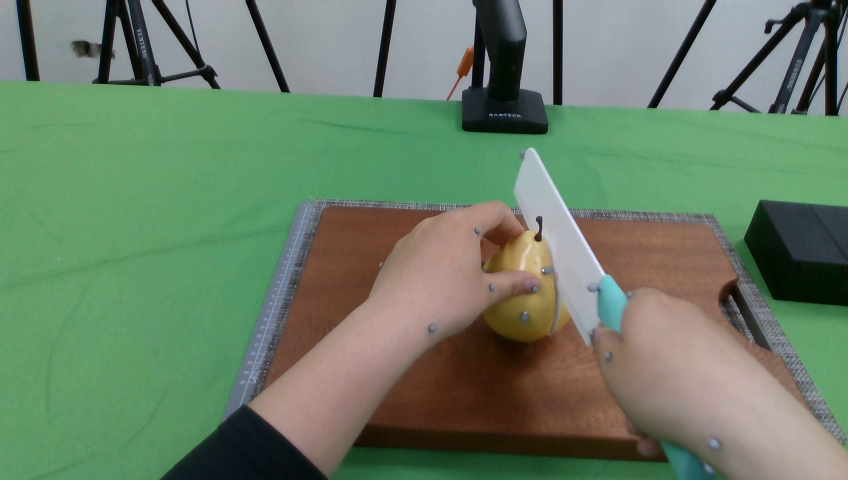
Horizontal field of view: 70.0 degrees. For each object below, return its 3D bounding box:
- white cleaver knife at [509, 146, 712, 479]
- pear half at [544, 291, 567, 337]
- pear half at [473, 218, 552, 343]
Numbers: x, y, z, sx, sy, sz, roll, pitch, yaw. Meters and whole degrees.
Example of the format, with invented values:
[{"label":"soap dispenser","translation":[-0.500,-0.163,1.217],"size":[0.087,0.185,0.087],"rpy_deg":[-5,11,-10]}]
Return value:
[{"label":"white cleaver knife","translation":[0.110,0.036,0.411],"size":[0.021,0.066,0.283],"rpy_deg":[-5,44,-10]},{"label":"pear half","translation":[0.106,0.033,0.480],"size":[0.031,0.088,0.069],"rpy_deg":[-4,31,-16]},{"label":"pear half","translation":[0.068,0.028,0.466],"size":[0.056,0.111,0.075],"rpy_deg":[-7,36,-12]}]
